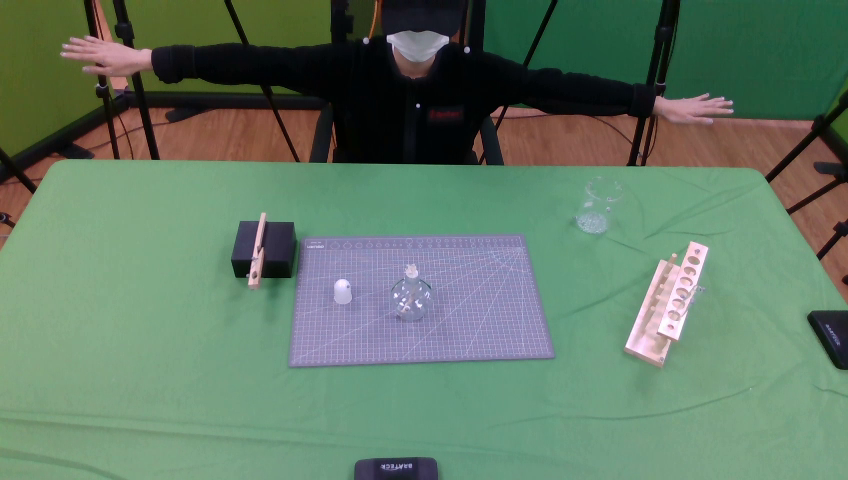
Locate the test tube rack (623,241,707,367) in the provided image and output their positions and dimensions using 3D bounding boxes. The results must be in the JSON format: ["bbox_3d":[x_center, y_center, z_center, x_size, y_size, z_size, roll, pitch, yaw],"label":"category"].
[{"bbox_3d":[0.435,0.104,1.089,0.066,0.085,0.242,24,49,19],"label":"test tube rack"}]

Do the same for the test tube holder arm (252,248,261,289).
[{"bbox_3d":[-0.294,0.049,1.066,0.010,0.015,0.087,5,45,-15],"label":"test tube holder arm"}]

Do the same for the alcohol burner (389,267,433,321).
[{"bbox_3d":[-0.022,0.085,1.046,0.078,0.119,0.077,2,48,-2],"label":"alcohol burner"}]

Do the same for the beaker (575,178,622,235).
[{"bbox_3d":[0.356,-0.068,1.239,0.084,0.101,0.073,-18,50,-21],"label":"beaker"}]

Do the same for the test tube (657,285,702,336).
[{"bbox_3d":[0.418,0.121,1.000,0.017,0.151,0.017,4,51,-4],"label":"test tube"}]

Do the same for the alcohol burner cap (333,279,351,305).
[{"bbox_3d":[-0.147,0.090,1.083,0.034,0.048,0.033,2,47,-2],"label":"alcohol burner cap"}]

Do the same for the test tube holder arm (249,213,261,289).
[{"bbox_3d":[-0.306,0.016,1.095,0.013,0.015,0.177,4,45,-16],"label":"test tube holder arm"}]
